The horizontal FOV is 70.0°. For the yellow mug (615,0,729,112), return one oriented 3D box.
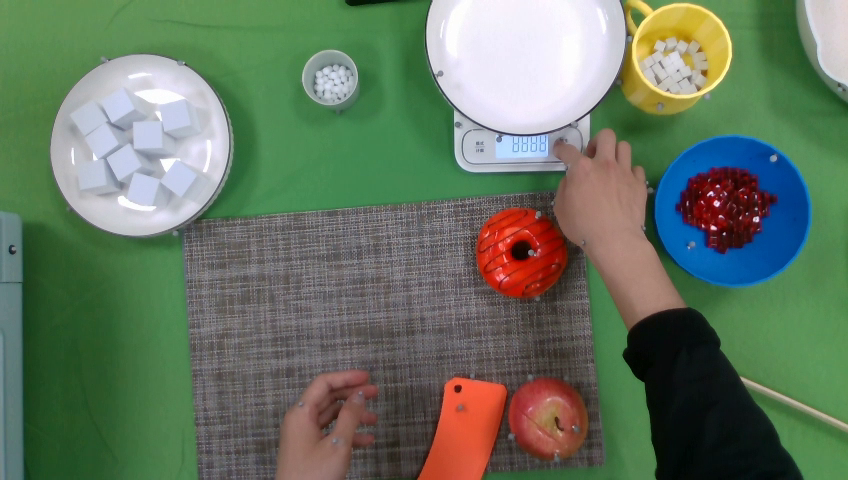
[{"bbox_3d":[0.251,-0.206,0.643,0.100,0.064,0.130,-37,85,2],"label":"yellow mug"}]

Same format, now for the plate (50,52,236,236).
[{"bbox_3d":[-0.312,-0.106,0.686,0.207,0.039,0.207,0,87,3],"label":"plate"}]

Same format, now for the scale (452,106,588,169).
[{"bbox_3d":[0.105,-0.180,0.668,0.148,0.031,0.200,0,88,4],"label":"scale"}]

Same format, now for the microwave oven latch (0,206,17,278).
[{"bbox_3d":[-0.472,0.002,0.672,0.030,0.029,0.079,0,88,3],"label":"microwave oven latch"}]

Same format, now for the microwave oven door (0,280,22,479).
[{"bbox_3d":[-0.473,0.216,0.561,0.039,0.244,0.355,-3,87,3],"label":"microwave oven door"}]

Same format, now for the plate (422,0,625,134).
[{"bbox_3d":[0.102,-0.212,0.637,0.209,0.038,0.209,0,88,3],"label":"plate"}]

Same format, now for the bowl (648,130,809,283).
[{"bbox_3d":[0.300,-0.031,0.627,0.151,0.077,0.151,0,88,4],"label":"bowl"}]

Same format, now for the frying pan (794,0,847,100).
[{"bbox_3d":[0.577,-0.168,0.604,0.307,0.103,0.485,-32,78,3],"label":"frying pan"}]

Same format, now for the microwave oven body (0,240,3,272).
[{"bbox_3d":[-0.619,0.179,0.576,0.326,0.260,0.441,-2,88,3],"label":"microwave oven body"}]

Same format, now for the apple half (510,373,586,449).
[{"bbox_3d":[0.134,0.168,0.627,0.080,0.075,0.053,37,86,8],"label":"apple half"}]

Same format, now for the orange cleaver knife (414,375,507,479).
[{"bbox_3d":[0.024,0.243,0.656,0.077,0.012,0.211,24,87,-1],"label":"orange cleaver knife"}]

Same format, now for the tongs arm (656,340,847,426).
[{"bbox_3d":[0.425,0.193,0.636,0.387,0.028,0.028,25,81,4],"label":"tongs arm"}]

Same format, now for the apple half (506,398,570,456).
[{"bbox_3d":[0.110,0.199,0.625,0.081,0.081,0.033,39,85,5],"label":"apple half"}]

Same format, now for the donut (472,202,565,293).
[{"bbox_3d":[0.100,0.008,0.650,0.099,0.048,0.099,0,88,5],"label":"donut"}]

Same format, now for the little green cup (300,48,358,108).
[{"bbox_3d":[-0.103,-0.178,0.677,0.061,0.039,0.061,0,87,4],"label":"little green cup"}]
